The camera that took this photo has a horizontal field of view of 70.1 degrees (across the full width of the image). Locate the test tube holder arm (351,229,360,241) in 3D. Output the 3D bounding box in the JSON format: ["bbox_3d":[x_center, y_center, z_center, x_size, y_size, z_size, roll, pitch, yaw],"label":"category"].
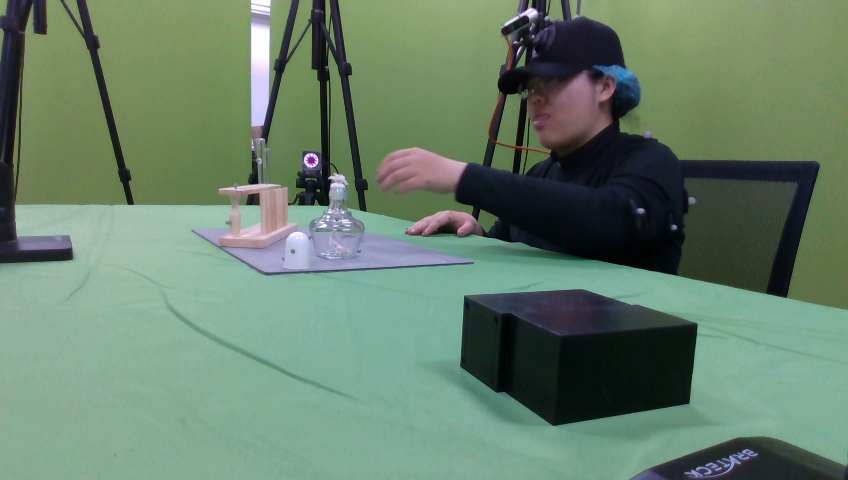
[{"bbox_3d":[-0.120,-0.010,1.040,0.010,0.015,0.087,36,0,-12],"label":"test tube holder arm"}]

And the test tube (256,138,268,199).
[{"bbox_3d":[-0.284,-0.105,1.066,0.017,0.150,0.017,-1,9,0],"label":"test tube"}]

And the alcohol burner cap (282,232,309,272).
[{"bbox_3d":[-0.157,0.014,0.740,0.034,0.048,0.034,2,6,0],"label":"alcohol burner cap"}]

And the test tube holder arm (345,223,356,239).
[{"bbox_3d":[-0.132,-0.018,1.083,0.013,0.015,0.178,36,0,-12],"label":"test tube holder arm"}]

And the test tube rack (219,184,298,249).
[{"bbox_3d":[-0.266,-0.046,1.002,0.067,0.085,0.242,3,7,0],"label":"test tube rack"}]

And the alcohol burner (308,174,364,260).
[{"bbox_3d":[-0.121,-0.033,0.841,0.078,0.119,0.078,3,5,0],"label":"alcohol burner"}]
